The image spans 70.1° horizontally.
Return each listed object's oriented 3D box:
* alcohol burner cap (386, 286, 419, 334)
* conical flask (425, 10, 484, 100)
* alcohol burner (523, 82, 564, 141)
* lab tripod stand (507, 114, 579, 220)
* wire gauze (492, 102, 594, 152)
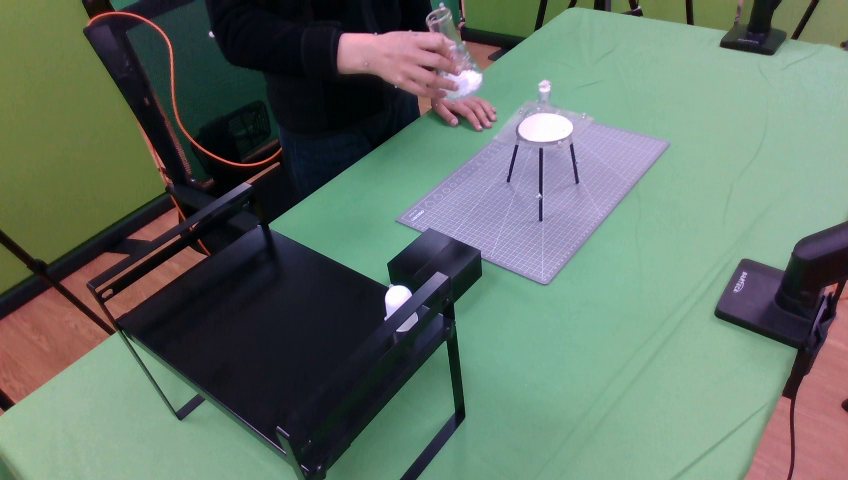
[{"bbox_3d":[-0.024,0.067,0.604,0.034,0.048,0.033,-4,40,4],"label":"alcohol burner cap"},{"bbox_3d":[0.038,-0.274,0.892,0.075,0.123,0.075,-13,44,14],"label":"conical flask"},{"bbox_3d":[0.230,-0.251,1.161,0.078,0.119,0.077,-4,43,4],"label":"alcohol burner"},{"bbox_3d":[0.199,-0.128,1.005,0.148,0.132,0.147,-3,42,3],"label":"lab tripod stand"},{"bbox_3d":[0.191,-0.180,0.964,0.120,0.011,0.125,19,48,28],"label":"wire gauze"}]
